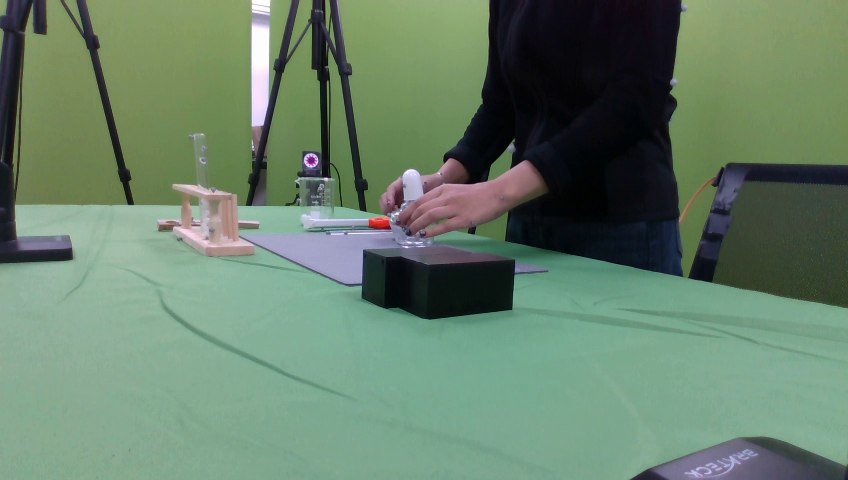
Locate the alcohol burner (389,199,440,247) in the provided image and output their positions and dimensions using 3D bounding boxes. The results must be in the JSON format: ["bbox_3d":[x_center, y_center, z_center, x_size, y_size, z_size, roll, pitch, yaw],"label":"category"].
[{"bbox_3d":[-0.015,-0.049,0.914,0.078,0.119,0.078,-2,16,1],"label":"alcohol burner"}]

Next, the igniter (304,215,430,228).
[{"bbox_3d":[-0.109,-0.037,1.228,0.278,0.025,0.057,-3,-1,-35],"label":"igniter"}]

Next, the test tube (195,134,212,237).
[{"bbox_3d":[-0.320,-0.079,0.880,0.017,0.150,0.017,-3,3,1],"label":"test tube"}]

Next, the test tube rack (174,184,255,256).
[{"bbox_3d":[-0.327,-0.036,0.928,0.067,0.085,0.241,-2,9,-32],"label":"test tube rack"}]

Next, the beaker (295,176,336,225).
[{"bbox_3d":[-0.224,-0.080,1.247,0.084,0.100,0.073,-1,8,-18],"label":"beaker"}]

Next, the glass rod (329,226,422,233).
[{"bbox_3d":[-0.087,-0.020,1.148,0.201,0.008,0.008,-3,8,-33],"label":"glass rod"}]

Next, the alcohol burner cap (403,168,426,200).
[{"bbox_3d":[-0.017,-0.084,0.905,0.034,0.048,0.034,-8,10,2],"label":"alcohol burner cap"}]

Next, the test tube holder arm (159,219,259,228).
[{"bbox_3d":[-0.390,-0.030,1.107,0.179,0.015,0.013,-3,45,-39],"label":"test tube holder arm"}]

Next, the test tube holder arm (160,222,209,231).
[{"bbox_3d":[-0.423,-0.024,1.076,0.088,0.015,0.010,-2,45,-38],"label":"test tube holder arm"}]
